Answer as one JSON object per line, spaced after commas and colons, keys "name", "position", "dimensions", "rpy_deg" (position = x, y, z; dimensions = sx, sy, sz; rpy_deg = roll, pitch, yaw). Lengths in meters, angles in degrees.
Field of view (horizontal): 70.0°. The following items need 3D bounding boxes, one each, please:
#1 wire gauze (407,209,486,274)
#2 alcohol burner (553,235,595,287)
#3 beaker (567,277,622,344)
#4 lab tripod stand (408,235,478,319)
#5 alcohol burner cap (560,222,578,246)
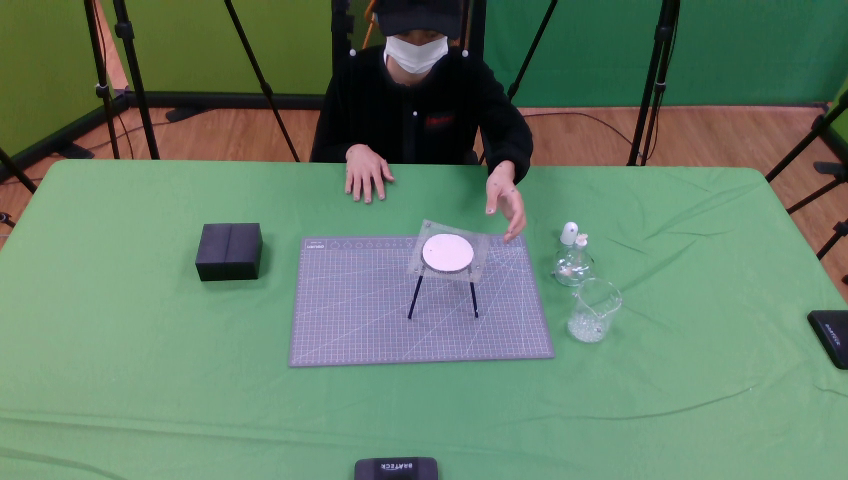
{"name": "wire gauze", "position": [0.036, 0.003, 1.001], "dimensions": [0.125, 0.011, 0.120], "rpy_deg": [-7, 52, -1]}
{"name": "alcohol burner", "position": [0.282, 0.032, 1.127], "dimensions": [0.078, 0.120, 0.077], "rpy_deg": [1, 48, -1]}
{"name": "beaker", "position": [0.291, 0.127, 1.045], "dimensions": [0.074, 0.101, 0.083], "rpy_deg": [7, 46, 4]}
{"name": "lab tripod stand", "position": [0.032, 0.065, 1.057], "dimensions": [0.148, 0.132, 0.147], "rpy_deg": [1, 45, -1]}
{"name": "alcohol burner cap", "position": [0.295, -0.015, 1.223], "dimensions": [0.034, 0.048, 0.033], "rpy_deg": [2, 47, -2]}
